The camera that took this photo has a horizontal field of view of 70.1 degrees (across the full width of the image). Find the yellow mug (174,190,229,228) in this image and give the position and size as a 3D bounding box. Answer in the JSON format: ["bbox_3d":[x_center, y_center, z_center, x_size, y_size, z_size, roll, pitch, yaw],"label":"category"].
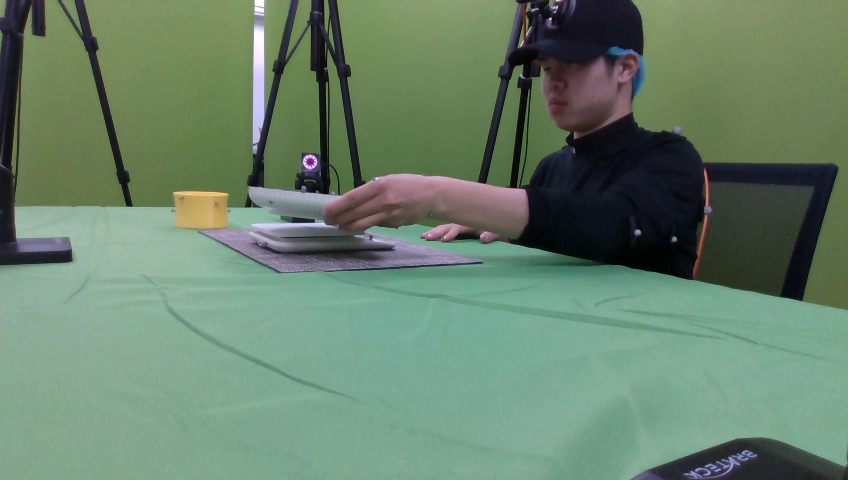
[{"bbox_3d":[-0.427,-0.063,1.189,0.100,0.064,0.131,5,7,14],"label":"yellow mug"}]

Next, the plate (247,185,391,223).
[{"bbox_3d":[-0.153,-0.051,0.889,0.209,0.038,0.209,6,4,0],"label":"plate"}]

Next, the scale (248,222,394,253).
[{"bbox_3d":[-0.162,-0.007,0.954,0.202,0.031,0.148,-2,8,-32],"label":"scale"}]
